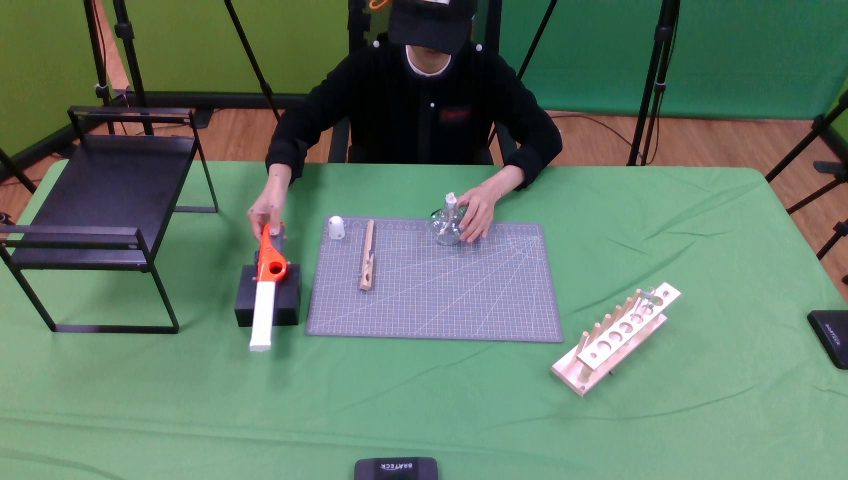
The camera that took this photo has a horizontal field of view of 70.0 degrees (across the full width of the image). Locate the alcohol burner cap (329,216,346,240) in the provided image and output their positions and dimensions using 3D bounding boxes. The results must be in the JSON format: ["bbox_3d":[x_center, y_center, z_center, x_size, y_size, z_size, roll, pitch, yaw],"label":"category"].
[{"bbox_3d":[-0.171,-0.026,1.190,0.034,0.048,0.033,1,47,-1],"label":"alcohol burner cap"}]

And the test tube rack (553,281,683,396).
[{"bbox_3d":[0.329,0.153,1.023,0.242,0.085,0.066,-30,54,-28],"label":"test tube rack"}]

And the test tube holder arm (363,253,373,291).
[{"bbox_3d":[-0.104,0.058,1.132,0.010,0.015,0.087,28,38,-27],"label":"test tube holder arm"}]

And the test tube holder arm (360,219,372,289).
[{"bbox_3d":[-0.110,0.024,1.161,0.013,0.015,0.177,28,38,-27],"label":"test tube holder arm"}]

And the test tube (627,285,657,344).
[{"bbox_3d":[0.350,0.124,0.983,0.017,0.151,0.017,0,49,0],"label":"test tube"}]

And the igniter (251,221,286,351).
[{"bbox_3d":[-0.268,0.068,1.042,0.057,0.025,0.274,2,47,-10],"label":"igniter"}]

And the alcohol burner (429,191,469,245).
[{"bbox_3d":[0.050,-0.047,1.176,0.078,0.119,0.077,3,44,-2],"label":"alcohol burner"}]
